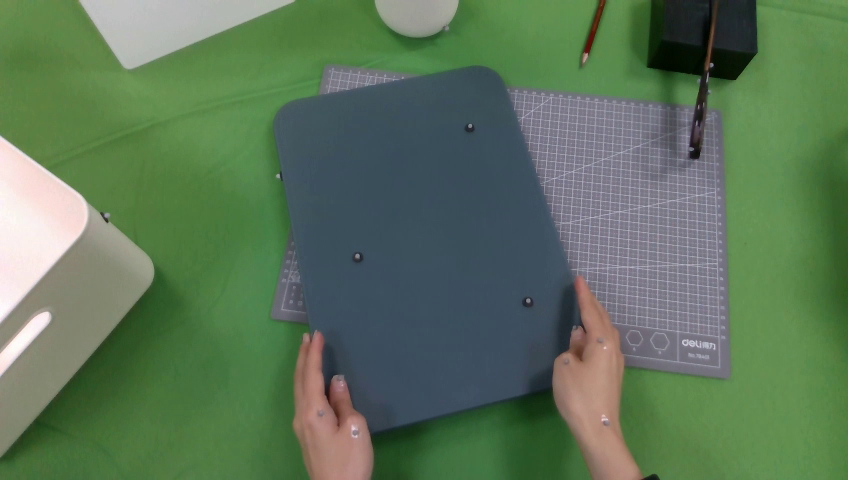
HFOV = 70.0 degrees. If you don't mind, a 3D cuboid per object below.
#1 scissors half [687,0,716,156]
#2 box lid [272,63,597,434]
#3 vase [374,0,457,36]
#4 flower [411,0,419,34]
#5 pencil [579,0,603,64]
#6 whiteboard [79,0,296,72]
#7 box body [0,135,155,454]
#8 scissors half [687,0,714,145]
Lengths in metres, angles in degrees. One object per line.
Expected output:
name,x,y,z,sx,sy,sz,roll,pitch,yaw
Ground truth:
scissors half,0.300,-0.176,0.649,0.012,0.040,0.175,8,90,27
box lid,-0.001,-0.015,0.616,0.263,0.015,0.368,-13,69,-7
vase,-0.011,-0.308,0.630,0.098,0.201,0.097,0,69,1
flower,-0.017,-0.350,0.556,0.044,0.365,0.038,1,53,4
pencil,0.211,-0.289,0.723,0.012,0.012,0.193,18,73,7
whiteboard,-0.299,-0.377,0.628,0.217,0.308,0.142,-26,53,-8
box body,-0.467,0.004,0.540,0.363,0.161,0.253,33,74,10
scissors half,0.292,-0.180,0.631,0.013,0.040,0.174,9,73,22
